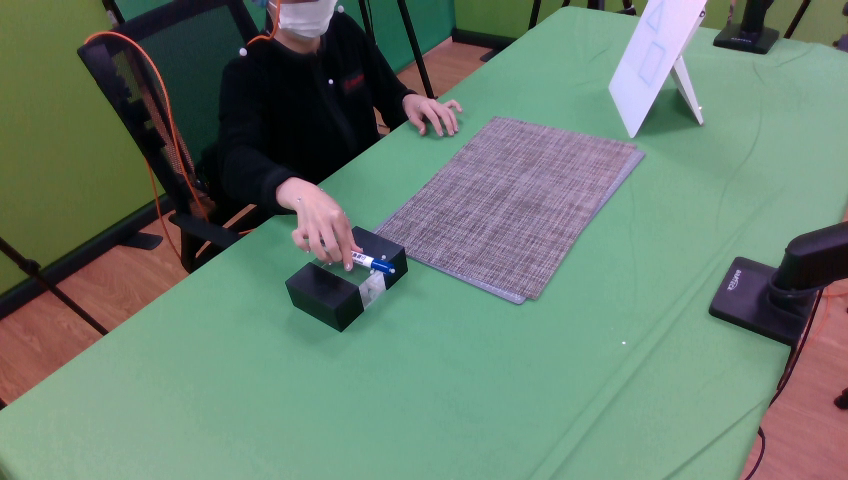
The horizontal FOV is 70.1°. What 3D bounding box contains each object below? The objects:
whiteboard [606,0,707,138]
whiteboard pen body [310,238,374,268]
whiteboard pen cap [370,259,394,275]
[{"bbox_3d":[0.496,-0.359,1.147,0.144,0.305,0.216,11,40,-7],"label":"whiteboard"},{"bbox_3d":[-0.112,0.021,0.892,0.140,0.017,0.017,18,46,27],"label":"whiteboard pen body"},{"bbox_3d":[-0.061,0.038,0.863,0.033,0.018,0.018,18,46,26],"label":"whiteboard pen cap"}]
